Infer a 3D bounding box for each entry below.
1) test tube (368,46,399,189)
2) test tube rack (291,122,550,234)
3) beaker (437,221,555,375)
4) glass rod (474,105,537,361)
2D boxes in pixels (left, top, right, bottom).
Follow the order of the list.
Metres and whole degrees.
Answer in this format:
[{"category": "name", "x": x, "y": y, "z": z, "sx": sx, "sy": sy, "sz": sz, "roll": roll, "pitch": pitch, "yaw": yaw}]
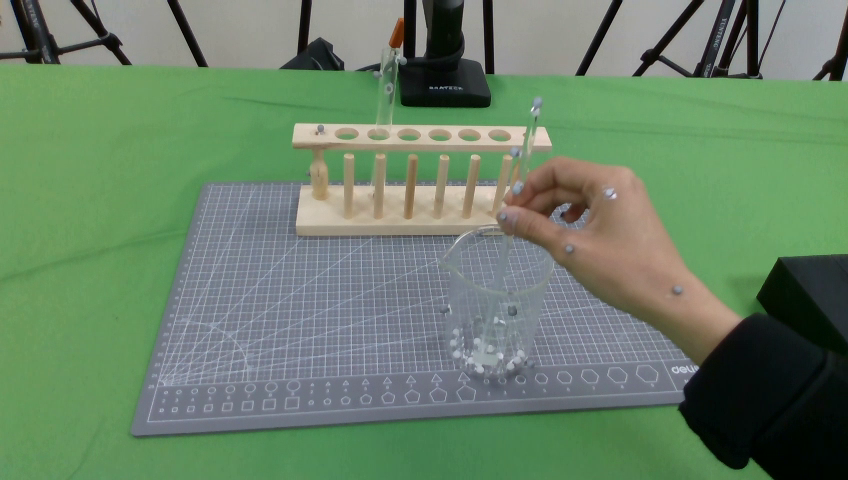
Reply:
[{"category": "test tube", "x": -0.039, "y": -0.107, "z": 0.563, "sx": 0.017, "sy": 0.151, "sz": 0.017, "roll": 6, "pitch": 43, "yaw": -5}, {"category": "test tube rack", "x": -0.003, "y": -0.060, "z": 0.588, "sx": 0.243, "sy": 0.086, "sz": 0.066, "roll": 0, "pitch": 41, "yaw": -6}, {"category": "beaker", "x": 0.049, "y": 0.047, "z": 0.459, "sx": 0.084, "sy": 0.101, "sz": 0.073, "roll": 1, "pitch": 41, "yaw": -3}, {"category": "glass rod", "x": 0.051, "y": 0.006, "z": 0.404, "sx": 0.008, "sy": 0.201, "sz": 0.008, "roll": 6, "pitch": 32, "yaw": -3}]
